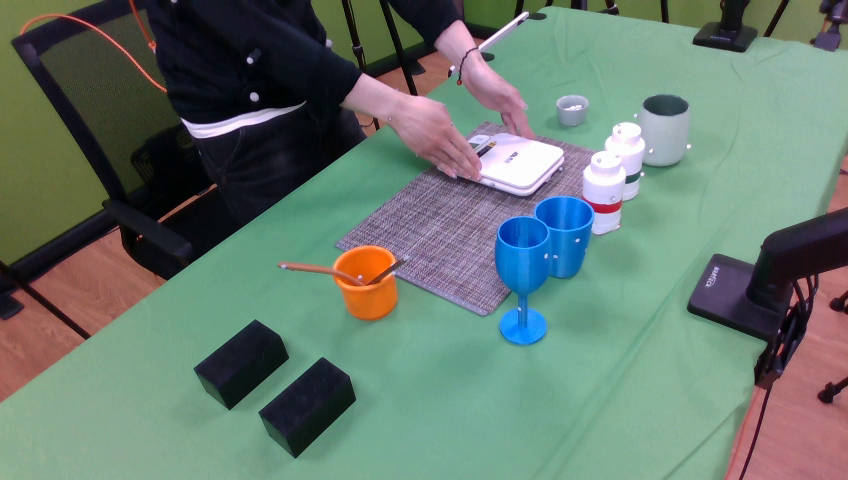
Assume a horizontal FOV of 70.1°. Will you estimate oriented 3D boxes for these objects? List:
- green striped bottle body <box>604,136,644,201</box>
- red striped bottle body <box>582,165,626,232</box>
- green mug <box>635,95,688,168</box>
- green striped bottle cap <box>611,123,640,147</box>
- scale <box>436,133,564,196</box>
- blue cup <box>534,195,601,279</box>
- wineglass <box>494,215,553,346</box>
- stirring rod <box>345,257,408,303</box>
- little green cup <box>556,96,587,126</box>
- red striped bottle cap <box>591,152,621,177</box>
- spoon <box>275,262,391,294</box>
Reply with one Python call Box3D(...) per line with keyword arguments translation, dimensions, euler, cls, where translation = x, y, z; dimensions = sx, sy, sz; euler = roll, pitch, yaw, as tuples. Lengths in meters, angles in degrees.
Box3D(translation=(0.326, -0.128, 0.997), dimensions=(0.063, 0.120, 0.063), euler=(-4, 41, 4), cls="green striped bottle body")
Box3D(translation=(0.279, -0.075, 0.942), dimensions=(0.063, 0.120, 0.062), euler=(-4, 41, 4), cls="red striped bottle body")
Box3D(translation=(0.421, -0.201, 1.081), dimensions=(0.092, 0.105, 0.125), euler=(5, 42, 15), cls="green mug")
Box3D(translation=(0.322, -0.168, 0.963), dimensions=(0.044, 0.020, 0.044), euler=(-4, 41, 4), cls="green striped bottle cap")
Box3D(translation=(0.137, -0.145, 1.100), dimensions=(0.199, 0.032, 0.149), euler=(22, 45, 30), cls="scale")
Box3D(translation=(0.201, 0.000, 0.879), dimensions=(0.092, 0.100, 0.092), euler=(-3, 39, 3), cls="blue cup")
Box3D(translation=(0.127, 0.055, 0.770), dimensions=(0.074, 0.173, 0.073), euler=(-4, 40, 4), cls="wineglass")
Box3D(translation=(-0.067, 0.056, 0.814), dimensions=(0.014, 0.175, 0.006), euler=(-22, 81, -37), cls="stirring rod")
Box3D(translation=(0.295, -0.258, 1.214), dimensions=(0.061, 0.039, 0.061), euler=(-4, 42, 4), cls="little green cup")
Box3D(translation=(0.273, -0.114, 0.907), dimensions=(0.044, 0.018, 0.044), euler=(-5, 39, 5), cls="red striped bottle cap")
Box3D(translation=(-0.120, 0.050, 0.830), dimensions=(0.041, 0.195, 0.021), euler=(31, 96, 45), cls="spoon")
